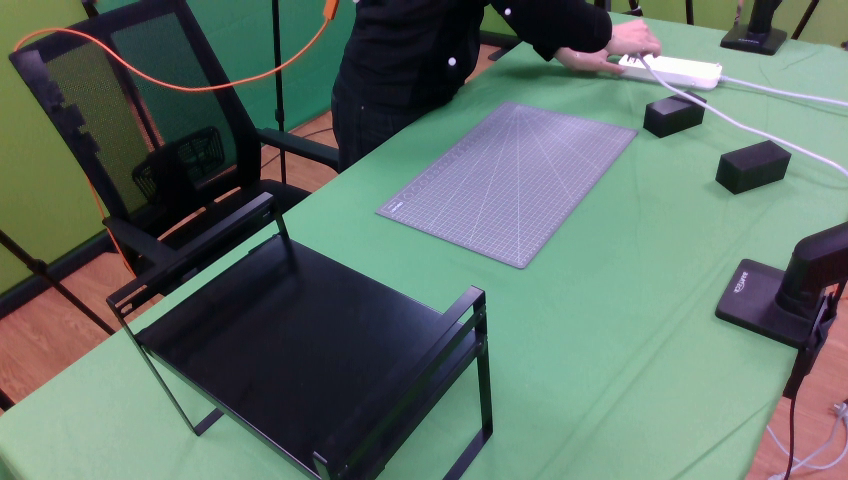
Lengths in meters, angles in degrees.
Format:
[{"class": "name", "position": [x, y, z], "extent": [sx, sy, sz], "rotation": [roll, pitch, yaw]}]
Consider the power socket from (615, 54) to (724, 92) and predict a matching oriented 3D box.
[{"class": "power socket", "position": [0.530, -0.367, 1.316], "extent": [0.225, 0.033, 0.072], "rotation": [19, 48, 27]}]

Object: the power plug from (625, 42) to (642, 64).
[{"class": "power plug", "position": [0.432, -0.384, 1.261], "extent": [0.035, 0.053, 0.072], "rotation": [28, 57, 16]}]
